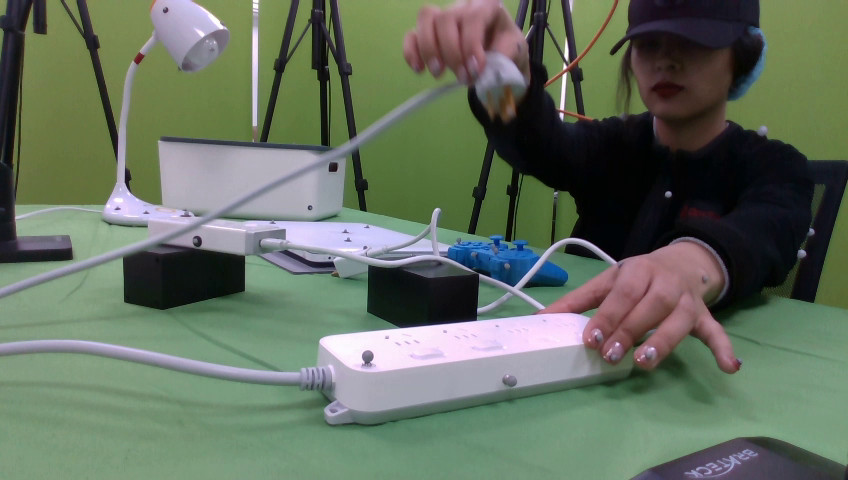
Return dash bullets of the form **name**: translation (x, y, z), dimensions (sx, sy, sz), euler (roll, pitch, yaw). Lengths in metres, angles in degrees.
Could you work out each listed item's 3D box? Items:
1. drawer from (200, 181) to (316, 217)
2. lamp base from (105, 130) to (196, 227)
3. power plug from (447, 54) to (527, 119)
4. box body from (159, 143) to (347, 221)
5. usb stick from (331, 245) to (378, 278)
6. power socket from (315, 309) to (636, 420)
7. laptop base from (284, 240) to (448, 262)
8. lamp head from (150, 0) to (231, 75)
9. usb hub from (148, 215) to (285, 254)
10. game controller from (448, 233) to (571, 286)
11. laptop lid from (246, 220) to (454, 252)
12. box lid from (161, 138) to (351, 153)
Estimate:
- **drawer**: translation (-0.372, -0.097, 1.393), dimensions (0.212, 0.073, 0.194), euler (1, 9, 6)
- **lamp base**: translation (-0.532, -0.120, 1.153), dimensions (0.179, 0.180, 0.161), euler (1, 7, 8)
- **power plug**: translation (0.050, -0.112, 0.465), dimensions (0.035, 0.052, 0.072), euler (-1, -12, -24)
- **box body**: translation (-0.384, -0.137, 1.406), dimensions (0.364, 0.160, 0.254), euler (3, 8, 7)
- **usb stick**: translation (-0.085, 0.026, 0.701), dimensions (0.059, 0.027, 0.021), euler (-18, 17, 27)
- **power socket**: translation (0.039, 0.072, 0.384), dimensions (0.228, 0.032, 0.072), euler (-2, 7, -29)
- **laptop base**: translation (-0.125, 0.003, 0.945), dimensions (0.237, 0.023, 0.352), euler (2, 6, -31)
- **lamp head**: translation (-0.432, -0.374, 1.086), dimensions (0.123, 0.112, 0.112), euler (42, 8, -2)
- **usb hub**: translation (-0.196, -0.006, 0.573), dimensions (0.125, 0.025, 0.050), euler (6, 8, 23)
- **game controller**: translation (0.099, 0.021, 0.756), dimensions (0.097, 0.051, 0.154), euler (-7, 10, -29)
- **laptop lid**: translation (-0.123, -0.009, 0.945), dimensions (0.243, 0.013, 0.355), euler (1, 7, -29)
- **box lid**: translation (-0.371, -0.215, 1.394), dimensions (0.371, 0.015, 0.263), euler (4, 8, 7)
